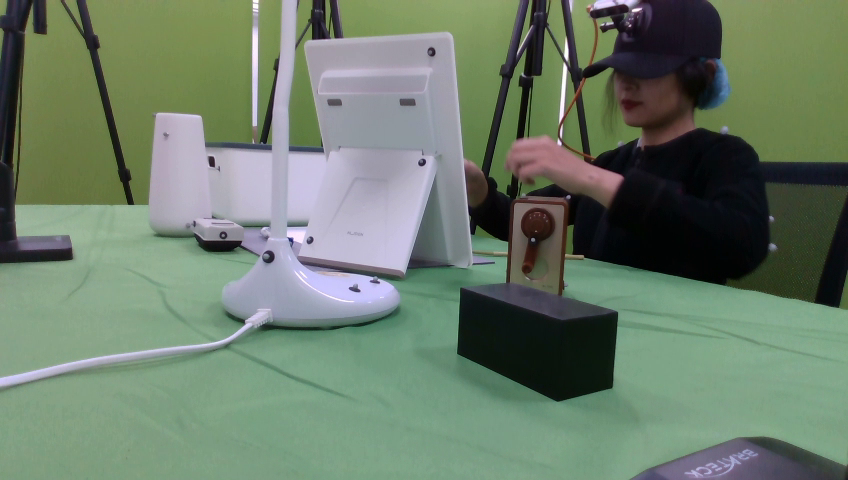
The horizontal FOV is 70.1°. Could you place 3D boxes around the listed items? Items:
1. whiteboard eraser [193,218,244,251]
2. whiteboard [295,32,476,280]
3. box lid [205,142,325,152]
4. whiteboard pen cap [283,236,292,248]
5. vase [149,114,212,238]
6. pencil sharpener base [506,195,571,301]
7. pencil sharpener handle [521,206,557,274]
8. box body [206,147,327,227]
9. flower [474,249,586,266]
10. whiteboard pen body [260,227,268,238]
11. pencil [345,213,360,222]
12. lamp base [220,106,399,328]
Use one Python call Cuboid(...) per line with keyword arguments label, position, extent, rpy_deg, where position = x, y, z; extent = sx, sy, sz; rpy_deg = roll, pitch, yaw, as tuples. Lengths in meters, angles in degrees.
Cuboid(label="whiteboard eraser", position=(-0.307, -0.010, 0.900), extent=(0.056, 0.042, 0.112), rpy_deg=(-4, 10, -28))
Cuboid(label="whiteboard", position=(-0.076, -0.084, 0.747), extent=(0.216, 0.305, 0.144), rpy_deg=(7, 28, 29))
Cuboid(label="box lid", position=(-0.270, -0.196, 1.310), extent=(0.373, 0.015, 0.262), rpy_deg=(-2, 9, -30))
Cuboid(label="whiteboard pen cap", position=(-0.211, 0.003, 0.913), extent=(0.018, 0.018, 0.033), rpy_deg=(-2, 6, -28))
Cuboid(label="vase", position=(-0.405, -0.106, 1.005), extent=(0.098, 0.200, 0.098), rpy_deg=(2, 6, 0))
Cuboid(label="pencil sharpener base", position=(0.126, 0.007, 0.662), extent=(0.061, 0.107, 0.077), rpy_deg=(4, 8, 13))
Cuboid(label="pencil sharpener handle", position=(0.112, 0.000, 0.611), extent=(0.036, 0.067, 0.031), rpy_deg=(13, 10, 11))
Cuboid(label="box body", position=(-0.276, -0.122, 1.320), extent=(0.366, 0.160, 0.253), rpy_deg=(-2, 9, -30))
Cuboid(label="flower", position=(0.072, 0.016, 0.934), extent=(0.362, 0.038, 0.044), rpy_deg=(7, 2, -1))
Cuboid(label="whiteboard pen body", position=(-0.239, -0.005, 0.964), extent=(0.017, 0.017, 0.140), rpy_deg=(-2, 9, -28))
Cuboid(label="pencil", position=(-0.159, -0.052, 1.365), extent=(0.012, 0.012, 0.194), rpy_deg=(3, 6, 1))
Cuboid(label="lamp base", position=(-0.101, -0.023, 0.531), extent=(0.160, 0.180, 0.179), rpy_deg=(4, 10, 10))
